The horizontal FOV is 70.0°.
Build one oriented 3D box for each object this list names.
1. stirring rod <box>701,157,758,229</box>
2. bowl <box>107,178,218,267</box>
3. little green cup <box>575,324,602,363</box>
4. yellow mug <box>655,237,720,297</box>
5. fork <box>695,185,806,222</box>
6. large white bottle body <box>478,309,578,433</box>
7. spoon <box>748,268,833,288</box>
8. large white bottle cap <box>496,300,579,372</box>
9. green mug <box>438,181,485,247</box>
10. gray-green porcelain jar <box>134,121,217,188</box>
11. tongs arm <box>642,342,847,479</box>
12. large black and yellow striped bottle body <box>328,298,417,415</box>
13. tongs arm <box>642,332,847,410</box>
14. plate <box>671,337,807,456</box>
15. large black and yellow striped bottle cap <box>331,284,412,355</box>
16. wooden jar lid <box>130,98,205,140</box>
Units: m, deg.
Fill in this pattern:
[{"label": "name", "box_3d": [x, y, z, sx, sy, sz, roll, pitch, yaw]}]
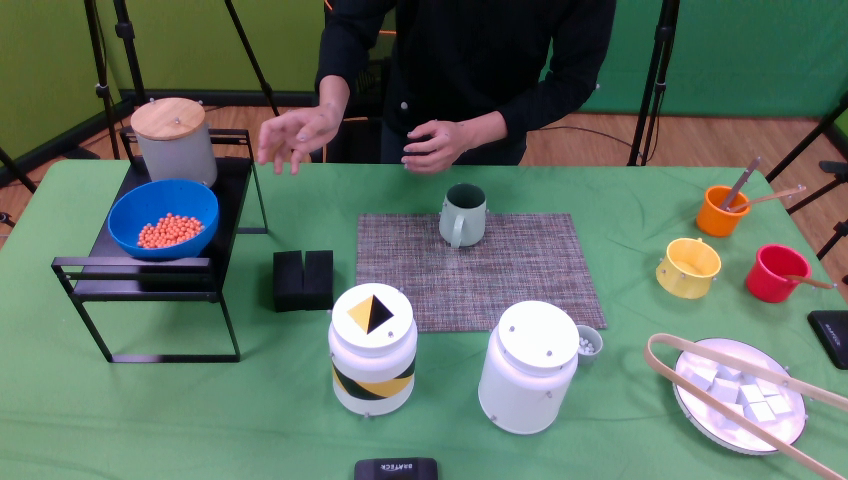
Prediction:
[{"label": "stirring rod", "box_3d": [0.634, -0.096, 1.257, 0.014, 0.006, 0.176, 38, 97, 30]}, {"label": "bowl", "box_3d": [-0.374, -0.014, 0.893, 0.151, 0.077, 0.150, 2, 46, -2]}, {"label": "little green cup", "box_3d": [0.269, 0.179, 1.036, 0.061, 0.039, 0.061, 3, 45, -2]}, {"label": "yellow mug", "box_3d": [0.509, 0.041, 1.167, 0.099, 0.064, 0.130, 24, 48, 18]}, {"label": "fork", "box_3d": [0.658, -0.074, 1.230, 0.207, 0.019, 0.028, -23, 36, 37]}, {"label": "large white bottle body", "box_3d": [0.156, 0.192, 0.913, 0.131, 0.185, 0.130, 2, 46, -2]}, {"label": "spoon", "box_3d": [0.660, 0.068, 1.097, 0.041, 0.193, 0.021, -4, 91, -6]}, {"label": "large white bottle cap", "box_3d": [0.160, 0.133, 0.852, 0.115, 0.018, 0.114, 3, 46, -2]}, {"label": "green mug", "box_3d": [0.071, -0.039, 1.177, 0.092, 0.105, 0.124, 12, 47, 7]}, {"label": "gray-green porcelain jar", "box_3d": [-0.397, -0.141, 0.979, 0.106, 0.127, 0.105, 2, 47, -2]}, {"label": "tongs arm", "box_3d": [0.504, 0.279, 0.918, 0.386, 0.028, 0.028, 33, 59, 22]}, {"label": "large black and yellow striped bottle body", "box_3d": [-0.078, 0.167, 0.920, 0.131, 0.185, 0.130, 2, 46, -2]}, {"label": "tongs arm", "box_3d": [0.546, 0.227, 0.968, 0.384, 0.026, 0.050, 22, 52, 13]}, {"label": "plate", "box_3d": [0.504, 0.254, 0.984, 0.208, 0.039, 0.206, 2, 46, -2]}, {"label": "large black and yellow striped bottle cap", "box_3d": [-0.073, 0.110, 0.858, 0.115, 0.019, 0.114, 2, 46, -2]}, {"label": "wooden jar lid", "box_3d": [-0.393, -0.183, 0.934, 0.108, 0.021, 0.107, 2, 43, -2]}]
